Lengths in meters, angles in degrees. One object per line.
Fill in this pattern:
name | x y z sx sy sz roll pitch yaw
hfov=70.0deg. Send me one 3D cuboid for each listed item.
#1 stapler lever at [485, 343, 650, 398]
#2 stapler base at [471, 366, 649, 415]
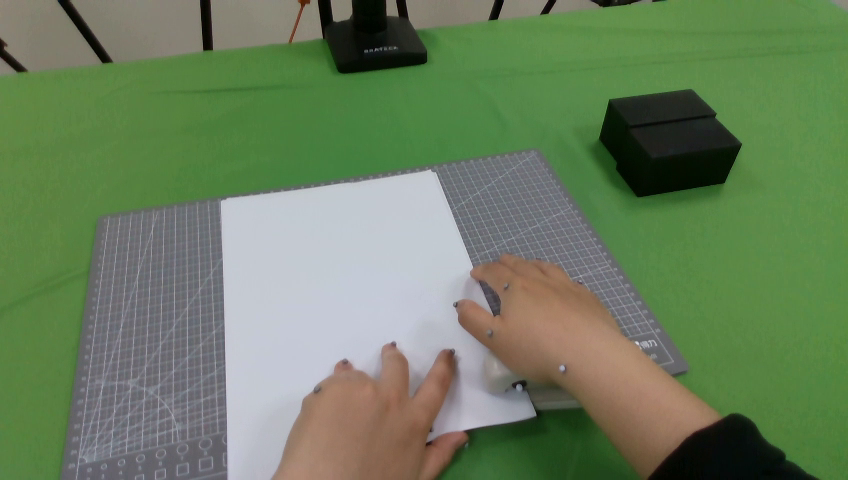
stapler lever | 0.102 0.094 0.439 0.118 0.040 0.026 -13 46 5
stapler base | 0.101 0.102 0.446 0.131 0.024 0.041 -2 46 -6
